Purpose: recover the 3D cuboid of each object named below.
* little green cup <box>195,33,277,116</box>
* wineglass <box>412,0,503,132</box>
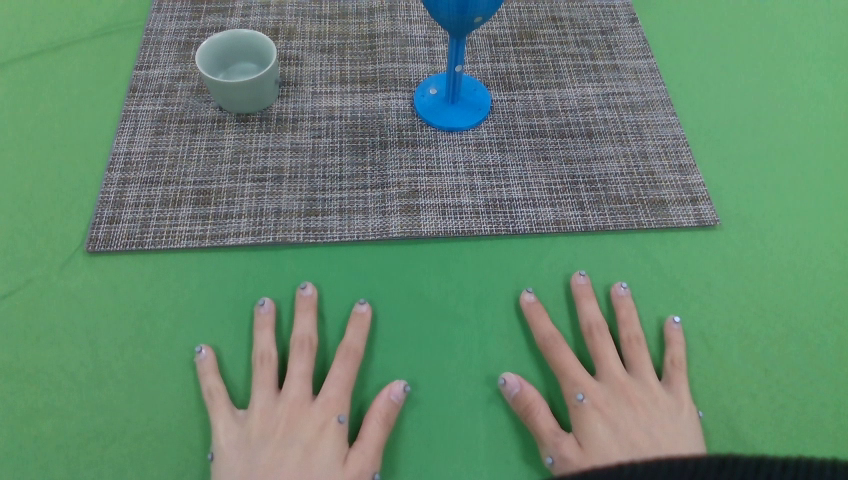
[{"bbox_3d":[-0.147,-0.131,0.484,0.061,0.039,0.061,1,56,-1],"label":"little green cup"},{"bbox_3d":[0.024,-0.161,0.430,0.074,0.173,0.073,1,57,-1],"label":"wineglass"}]
